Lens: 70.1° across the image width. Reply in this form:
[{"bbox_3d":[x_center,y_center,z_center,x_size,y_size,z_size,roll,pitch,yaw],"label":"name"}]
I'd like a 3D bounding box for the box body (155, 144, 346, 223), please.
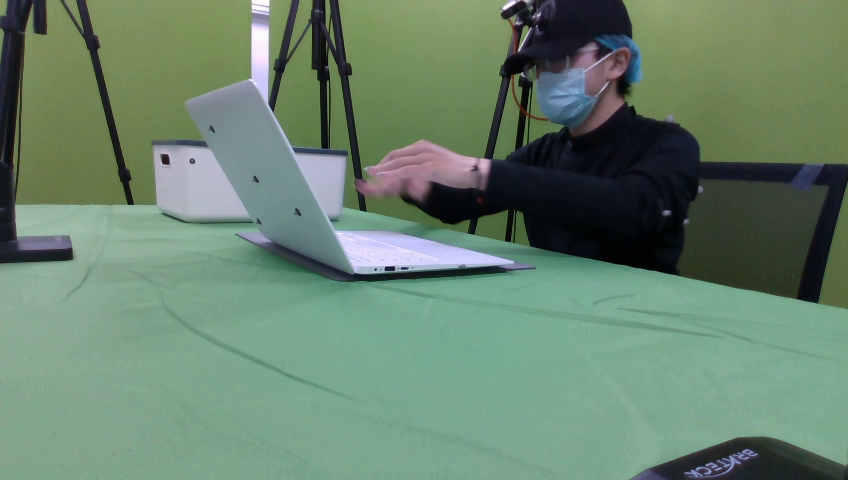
[{"bbox_3d":[-0.384,-0.132,1.346,0.366,0.160,0.253,-3,9,-36],"label":"box body"}]

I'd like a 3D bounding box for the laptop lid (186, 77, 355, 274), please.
[{"bbox_3d":[-0.211,-0.081,0.772,0.013,0.242,0.355,-35,25,-23],"label":"laptop lid"}]

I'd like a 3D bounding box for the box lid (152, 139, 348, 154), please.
[{"bbox_3d":[-0.379,-0.205,1.338,0.373,0.015,0.262,-3,10,-36],"label":"box lid"}]

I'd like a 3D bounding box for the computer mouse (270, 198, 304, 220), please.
[{"bbox_3d":[-0.319,-0.073,1.403,0.063,0.041,0.116,4,13,-24],"label":"computer mouse"}]

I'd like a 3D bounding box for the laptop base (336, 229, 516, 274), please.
[{"bbox_3d":[-0.065,0.014,0.877,0.237,0.023,0.352,2,7,-32],"label":"laptop base"}]

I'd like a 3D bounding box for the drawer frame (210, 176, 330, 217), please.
[{"bbox_3d":[-0.348,-0.104,1.366,0.215,0.082,0.200,-6,9,-33],"label":"drawer frame"}]

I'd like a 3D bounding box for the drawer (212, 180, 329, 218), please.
[{"bbox_3d":[-0.348,-0.097,1.365,0.213,0.073,0.193,-1,10,-32],"label":"drawer"}]
